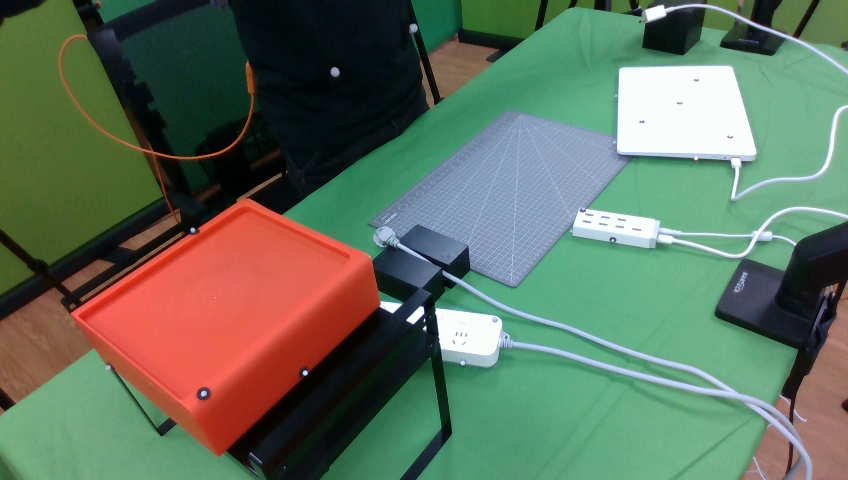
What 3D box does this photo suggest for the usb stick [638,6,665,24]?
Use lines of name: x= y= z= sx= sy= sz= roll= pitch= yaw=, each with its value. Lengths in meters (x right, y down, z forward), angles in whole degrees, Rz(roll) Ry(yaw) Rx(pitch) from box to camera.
usb stick: x=0.503 y=-0.499 z=1.347 sx=0.059 sy=0.027 sz=0.021 roll=-21 pitch=6 yaw=-1

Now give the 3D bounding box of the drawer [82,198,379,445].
drawer: x=-0.185 y=0.066 z=0.600 sx=0.193 sy=0.073 sz=0.212 roll=24 pitch=50 yaw=31

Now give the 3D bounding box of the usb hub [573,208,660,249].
usb hub: x=0.302 y=-0.019 z=0.949 sx=0.124 sy=0.025 sz=0.049 roll=11 pitch=43 yaw=20

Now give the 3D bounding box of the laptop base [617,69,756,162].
laptop base: x=0.507 y=-0.256 z=1.204 sx=0.235 sy=0.023 sz=0.353 roll=3 pitch=41 yaw=15

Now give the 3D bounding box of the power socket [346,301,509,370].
power socket: x=-0.001 y=0.126 z=0.817 sx=0.226 sy=0.033 sz=0.072 roll=7 pitch=43 yaw=15

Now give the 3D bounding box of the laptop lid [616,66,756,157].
laptop lid: x=0.503 y=-0.265 z=1.196 sx=0.241 sy=0.013 sz=0.356 roll=5 pitch=41 yaw=16

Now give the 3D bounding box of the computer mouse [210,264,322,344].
computer mouse: x=-0.164 y=0.062 z=0.624 sx=0.116 sy=0.041 sz=0.063 roll=22 pitch=45 yaw=27

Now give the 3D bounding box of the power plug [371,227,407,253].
power plug: x=-0.054 y=0.009 z=0.929 sx=0.035 sy=0.053 sz=0.072 roll=-34 pitch=64 yaw=-5

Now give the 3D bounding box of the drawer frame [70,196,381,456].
drawer frame: x=-0.186 y=0.068 z=0.597 sx=0.200 sy=0.083 sz=0.214 roll=23 pitch=49 yaw=30
